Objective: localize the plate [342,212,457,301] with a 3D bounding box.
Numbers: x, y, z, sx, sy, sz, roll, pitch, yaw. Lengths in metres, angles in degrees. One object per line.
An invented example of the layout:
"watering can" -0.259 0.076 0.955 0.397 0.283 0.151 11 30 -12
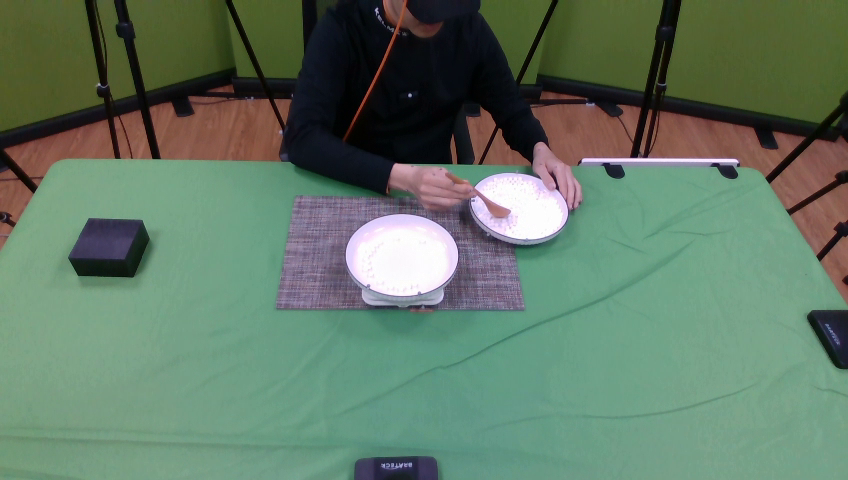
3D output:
"plate" -0.044 0.033 1.105 0.208 0.039 0.206 2 46 -2

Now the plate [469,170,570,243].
"plate" 0.196 -0.066 1.258 0.209 0.038 0.208 3 46 -3

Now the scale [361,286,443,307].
"scale" -0.042 0.040 1.143 0.149 0.032 0.199 0 46 -4

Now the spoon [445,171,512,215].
"spoon" 0.106 -0.091 1.193 0.041 0.195 0.021 -15 53 43
